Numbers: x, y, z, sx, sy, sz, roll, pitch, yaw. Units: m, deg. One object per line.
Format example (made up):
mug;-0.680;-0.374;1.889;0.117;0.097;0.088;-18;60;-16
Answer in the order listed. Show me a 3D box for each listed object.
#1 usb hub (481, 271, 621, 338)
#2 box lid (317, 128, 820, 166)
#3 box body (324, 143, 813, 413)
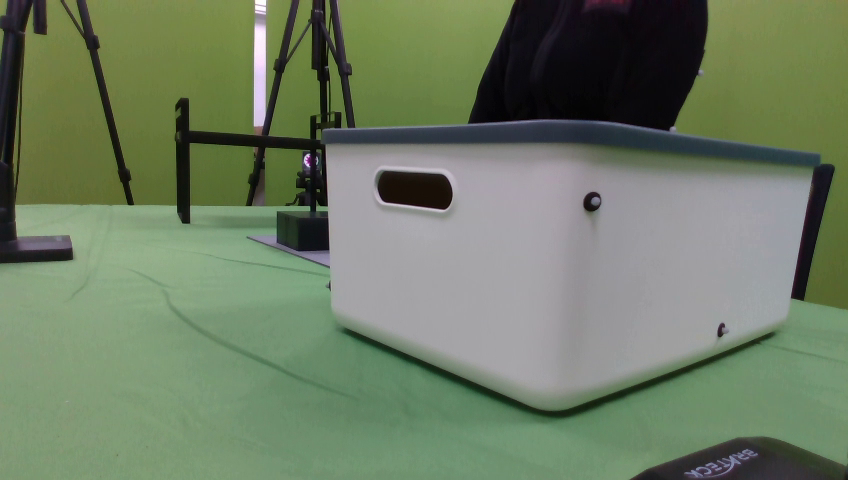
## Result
usb hub;0.112;0.053;0.526;0.126;0.025;0.049;-10;16;-33
box lid;0.129;-0.074;0.501;0.374;0.015;0.262;-4;11;-40
box body;0.125;0.000;0.510;0.366;0.160;0.253;-4;9;-41
